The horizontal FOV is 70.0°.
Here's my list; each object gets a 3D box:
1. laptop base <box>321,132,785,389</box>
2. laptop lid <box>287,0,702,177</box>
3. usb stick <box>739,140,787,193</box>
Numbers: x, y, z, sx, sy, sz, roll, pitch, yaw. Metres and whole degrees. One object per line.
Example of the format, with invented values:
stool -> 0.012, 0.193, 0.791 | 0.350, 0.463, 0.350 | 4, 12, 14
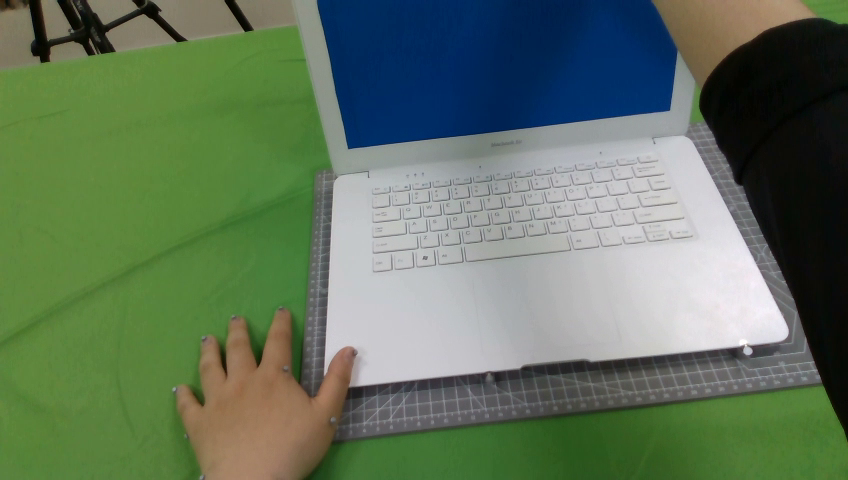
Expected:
laptop base -> 0.089, 0.008, 0.530 | 0.354, 0.023, 0.233 | -7, 52, 1
laptop lid -> 0.067, -0.175, 0.536 | 0.357, 0.244, 0.013 | -8, 36, 2
usb stick -> 0.310, -0.073, 0.560 | 0.021, 0.027, 0.058 | -7, 48, 3
